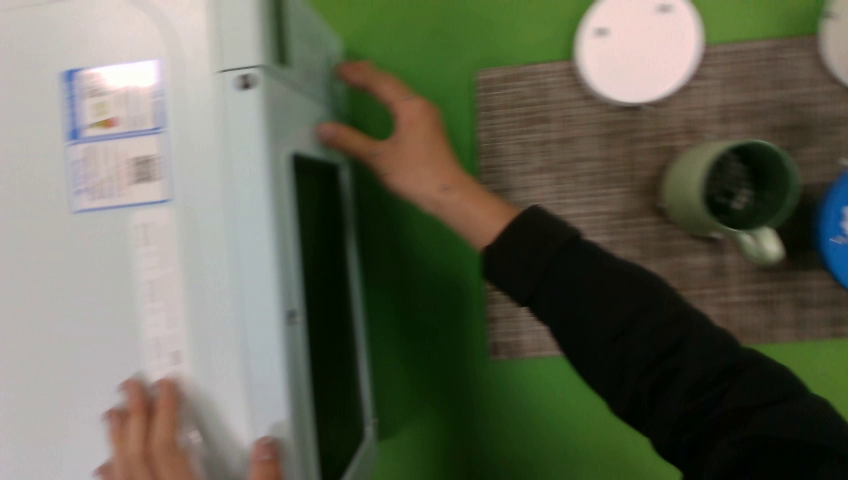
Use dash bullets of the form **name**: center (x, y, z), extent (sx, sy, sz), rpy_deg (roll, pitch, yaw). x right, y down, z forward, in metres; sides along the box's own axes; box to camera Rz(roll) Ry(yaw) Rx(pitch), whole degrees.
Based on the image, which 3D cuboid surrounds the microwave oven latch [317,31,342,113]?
- **microwave oven latch**: center (-0.103, -0.164, 0.597), extent (0.030, 0.029, 0.079), rpy_deg (-10, 95, 6)

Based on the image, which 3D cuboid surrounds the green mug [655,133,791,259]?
- **green mug**: center (0.277, -0.038, 0.551), extent (0.092, 0.105, 0.125), rpy_deg (-32, 91, 7)

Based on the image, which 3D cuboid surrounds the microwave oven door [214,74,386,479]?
- **microwave oven door**: center (-0.092, 0.060, 0.515), extent (0.039, 0.243, 0.356), rpy_deg (-7, 94, 7)

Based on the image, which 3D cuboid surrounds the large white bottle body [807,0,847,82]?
- **large white bottle body**: center (0.415, -0.206, 0.481), extent (0.130, 0.185, 0.130), rpy_deg (0, 91, 6)

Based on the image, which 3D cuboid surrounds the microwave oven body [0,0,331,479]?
- **microwave oven body**: center (-0.241, 0.034, 0.532), extent (0.326, 0.260, 0.442), rpy_deg (-7, 95, 6)

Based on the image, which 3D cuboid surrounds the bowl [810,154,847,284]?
- **bowl**: center (0.420, -0.022, 0.552), extent (0.151, 0.077, 0.151), rpy_deg (1, 95, 6)

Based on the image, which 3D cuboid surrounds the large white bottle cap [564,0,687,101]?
- **large white bottle cap**: center (0.195, -0.194, 0.589), extent (0.115, 0.018, 0.115), rpy_deg (0, 94, 5)
